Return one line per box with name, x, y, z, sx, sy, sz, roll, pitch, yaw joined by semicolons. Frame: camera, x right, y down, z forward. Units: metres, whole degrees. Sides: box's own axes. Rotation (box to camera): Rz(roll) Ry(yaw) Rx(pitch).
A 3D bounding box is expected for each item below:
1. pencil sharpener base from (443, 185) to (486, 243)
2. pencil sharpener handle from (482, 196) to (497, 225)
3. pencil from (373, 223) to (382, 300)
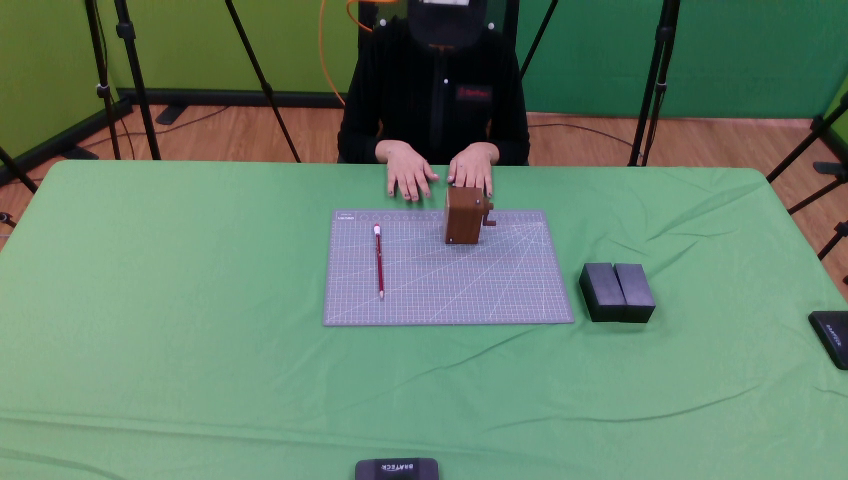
pencil sharpener base;0.078;-0.049;1.188;0.077;0.107;0.061;2;46;-3
pencil sharpener handle;0.130;-0.056;1.182;0.031;0.068;0.036;2;44;-3
pencil;-0.087;0.038;1.160;0.012;0.012;0.192;-2;47;-6
